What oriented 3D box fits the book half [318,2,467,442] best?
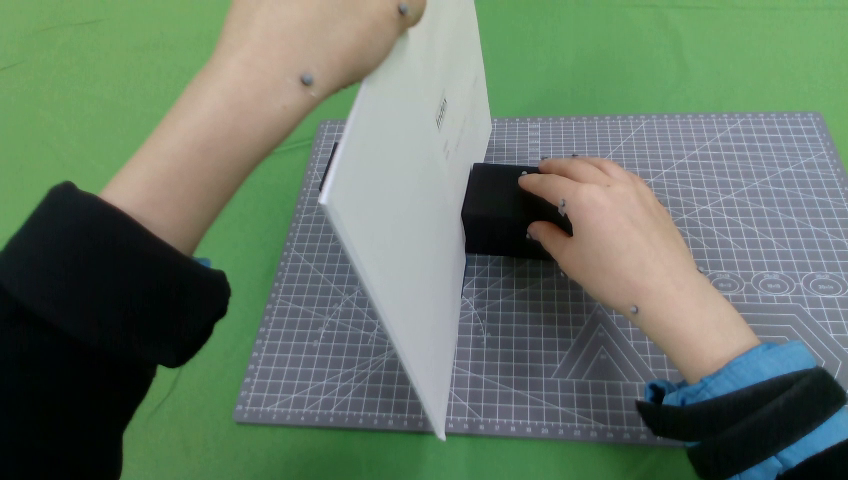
[{"bbox_3d":[-0.002,0.003,0.331,0.007,0.212,0.142,-1,50,15],"label":"book half"}]

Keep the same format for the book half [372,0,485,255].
[{"bbox_3d":[0.016,-0.106,0.420,0.016,0.212,0.147,2,51,17],"label":"book half"}]
